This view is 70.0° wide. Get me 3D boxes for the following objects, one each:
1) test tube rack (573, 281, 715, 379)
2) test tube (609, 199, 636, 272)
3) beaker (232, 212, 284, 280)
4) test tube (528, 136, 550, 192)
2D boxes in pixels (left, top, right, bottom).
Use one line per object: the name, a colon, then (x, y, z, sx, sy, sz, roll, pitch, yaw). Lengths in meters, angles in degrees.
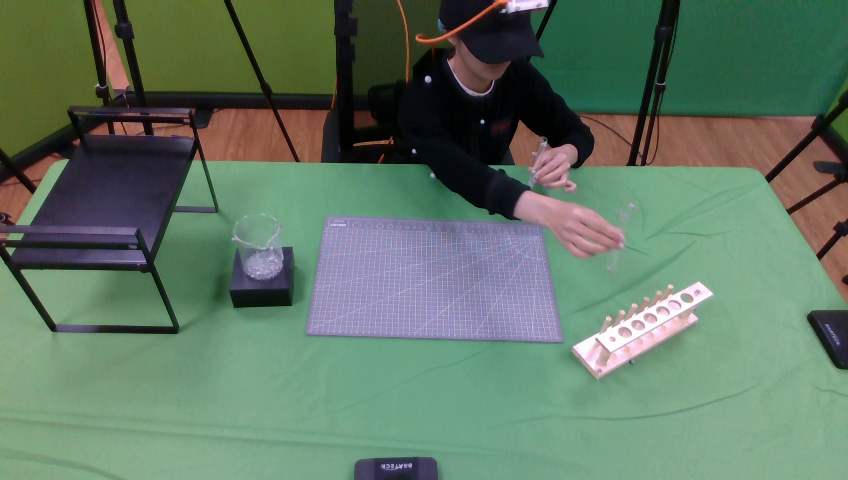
test tube rack: (0.378, 0.140, 1.038, 0.242, 0.085, 0.066, -22, 51, -23)
test tube: (0.309, -0.004, 0.948, 0.017, 0.151, 0.017, -2, 44, 2)
beaker: (-0.280, 0.016, 1.037, 0.074, 0.101, 0.083, -18, 50, -20)
test tube: (0.227, -0.148, 1.207, 0.017, 0.151, 0.017, 2, 53, -2)
